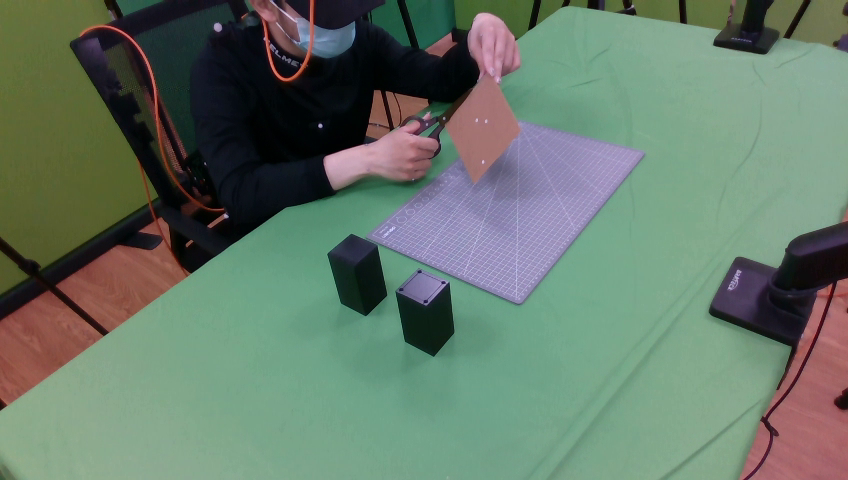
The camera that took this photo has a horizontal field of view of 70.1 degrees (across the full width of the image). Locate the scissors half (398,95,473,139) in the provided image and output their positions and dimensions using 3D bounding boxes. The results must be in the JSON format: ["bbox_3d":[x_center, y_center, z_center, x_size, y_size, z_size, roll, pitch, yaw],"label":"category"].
[{"bbox_3d":[0.020,-0.220,1.064,0.174,0.040,0.013,-17,39,36],"label":"scissors half"}]

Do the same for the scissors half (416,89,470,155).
[{"bbox_3d":[0.036,-0.207,1.070,0.040,0.175,0.013,32,49,-7],"label":"scissors half"}]

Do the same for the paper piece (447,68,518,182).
[{"bbox_3d":[0.093,-0.188,0.997,0.004,0.135,0.135,-1,57,-34],"label":"paper piece"}]

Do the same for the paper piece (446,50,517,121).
[{"bbox_3d":[0.104,-0.275,1.082,0.008,0.135,0.138,46,40,-1],"label":"paper piece"}]
